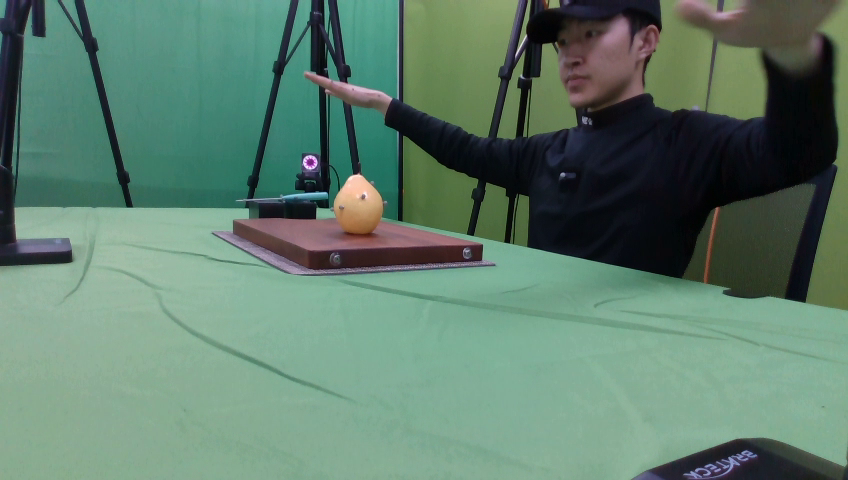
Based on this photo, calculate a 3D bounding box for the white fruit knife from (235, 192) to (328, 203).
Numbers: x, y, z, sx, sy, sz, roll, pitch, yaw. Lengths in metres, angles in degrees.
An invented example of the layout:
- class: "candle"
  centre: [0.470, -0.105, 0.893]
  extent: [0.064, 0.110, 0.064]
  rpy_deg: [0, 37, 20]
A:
- class: "white fruit knife"
  centre: [-0.297, -0.088, 1.283]
  extent: [0.208, 0.016, 0.027]
  rpy_deg: [-7, -1, -32]

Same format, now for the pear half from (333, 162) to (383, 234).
- class: "pear half"
  centre: [-0.098, -0.063, 0.918]
  extent: [0.076, 0.110, 0.055]
  rpy_deg: [-5, 10, -20]

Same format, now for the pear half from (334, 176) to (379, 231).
- class: "pear half"
  centre: [-0.109, -0.058, 0.953]
  extent: [0.071, 0.088, 0.031]
  rpy_deg: [-7, 12, -21]
